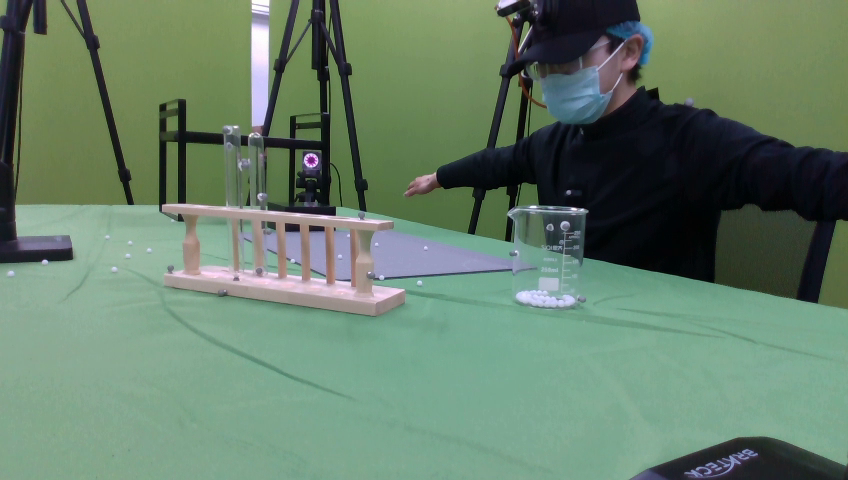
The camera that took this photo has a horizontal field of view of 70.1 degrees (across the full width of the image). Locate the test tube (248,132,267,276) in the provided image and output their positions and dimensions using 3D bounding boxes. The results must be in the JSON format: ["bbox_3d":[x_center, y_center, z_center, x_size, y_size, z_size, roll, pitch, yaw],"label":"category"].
[{"bbox_3d":[-0.173,-0.036,0.629,0.017,0.150,0.017,0,7,0],"label":"test tube"}]

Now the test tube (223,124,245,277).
[{"bbox_3d":[-0.186,-0.037,0.592,0.017,0.150,0.017,1,11,0],"label":"test tube"}]

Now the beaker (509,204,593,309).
[{"bbox_3d":[0.126,0.015,0.613,0.084,0.100,0.074,1,7,-5],"label":"beaker"}]

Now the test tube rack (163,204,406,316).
[{"bbox_3d":[-0.141,0.013,0.601,0.241,0.085,0.067,5,8,21],"label":"test tube rack"}]
